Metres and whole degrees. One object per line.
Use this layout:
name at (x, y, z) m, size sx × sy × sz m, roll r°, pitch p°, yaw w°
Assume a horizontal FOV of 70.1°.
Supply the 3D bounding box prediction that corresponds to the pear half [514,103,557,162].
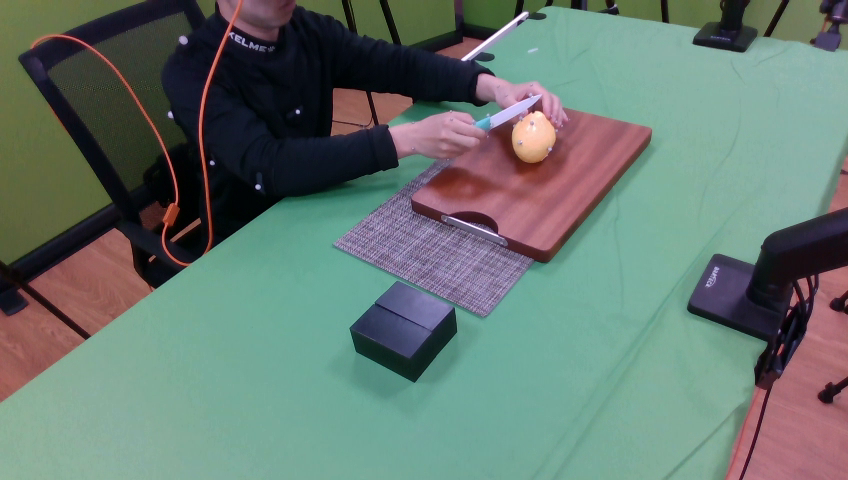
pear half at (0.197, -0.197, 1.060) m, size 0.076 × 0.110 × 0.056 m, roll 12°, pitch 42°, yaw 16°

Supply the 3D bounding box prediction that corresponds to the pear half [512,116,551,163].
pear half at (0.183, -0.168, 1.043) m, size 0.070 × 0.088 × 0.031 m, roll 11°, pitch 44°, yaw 17°

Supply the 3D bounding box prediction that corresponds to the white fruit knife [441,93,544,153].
white fruit knife at (0.111, -0.201, 1.030) m, size 0.206 × 0.028 × 0.016 m, roll -24°, pitch 43°, yaw 27°
